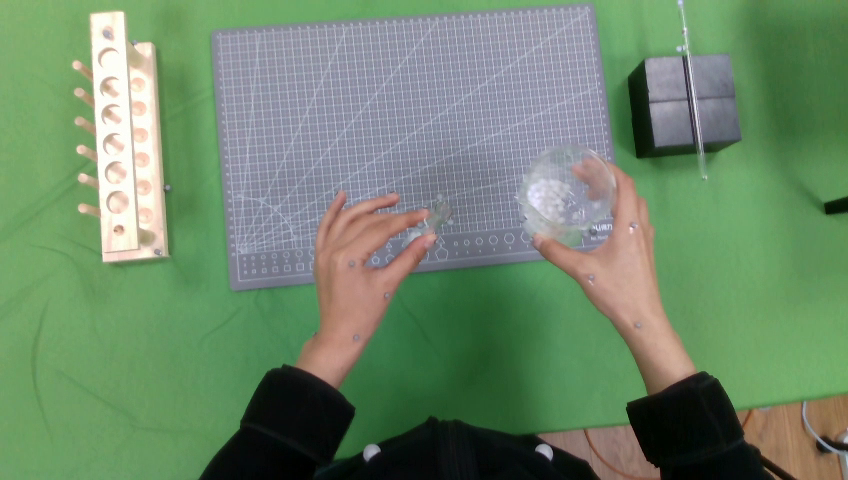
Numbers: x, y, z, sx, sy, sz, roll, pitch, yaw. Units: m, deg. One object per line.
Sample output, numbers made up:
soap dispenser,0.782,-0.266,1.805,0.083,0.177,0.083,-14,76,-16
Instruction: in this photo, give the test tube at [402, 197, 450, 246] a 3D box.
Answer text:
test tube,-0.001,-0.014,0.550,0.017,0.150,0.017,2,79,-12

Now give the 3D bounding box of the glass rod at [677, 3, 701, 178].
glass rod,0.294,-0.167,0.672,0.008,0.008,0.199,-3,85,-4

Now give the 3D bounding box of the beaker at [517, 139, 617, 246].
beaker,0.121,-0.037,0.549,0.084,0.101,0.073,-12,77,1

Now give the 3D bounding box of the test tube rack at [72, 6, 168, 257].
test tube rack,-0.325,-0.108,0.637,0.067,0.085,0.241,-5,85,-4
